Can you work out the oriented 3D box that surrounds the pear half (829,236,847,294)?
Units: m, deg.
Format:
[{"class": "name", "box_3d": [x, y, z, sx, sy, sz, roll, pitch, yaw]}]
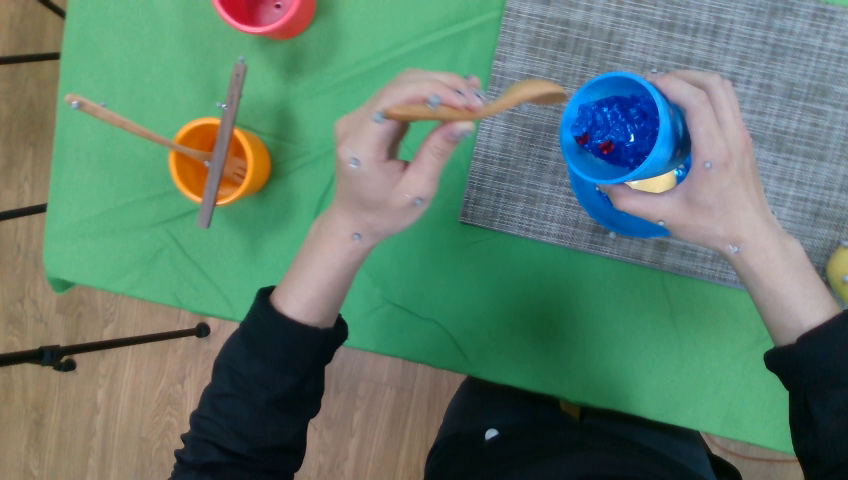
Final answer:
[{"class": "pear half", "box_3d": [0.444, 0.029, 0.598, 0.056, 0.110, 0.076, -5, 93, 7]}]

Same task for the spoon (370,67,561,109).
[{"class": "spoon", "box_3d": [0.034, -0.092, 0.378, 0.041, 0.194, 0.022, 4, 110, 36]}]

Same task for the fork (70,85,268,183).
[{"class": "fork", "box_3d": [-0.257, -0.107, 0.631, 0.209, 0.018, 0.028, 24, 113, -42]}]

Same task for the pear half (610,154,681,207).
[{"class": "pear half", "box_3d": [0.224, -0.079, 0.613, 0.070, 0.031, 0.088, -14, 91, 6]}]

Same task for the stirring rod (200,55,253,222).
[{"class": "stirring rod", "box_3d": [-0.204, -0.103, 0.625, 0.014, 0.006, 0.176, 18, 100, 0]}]

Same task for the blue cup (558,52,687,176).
[{"class": "blue cup", "box_3d": [0.171, -0.093, 0.497, 0.092, 0.101, 0.092, 2, 94, 38]}]

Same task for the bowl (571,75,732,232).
[{"class": "bowl", "box_3d": [0.222, -0.087, 0.619, 0.151, 0.076, 0.151, 1, 98, 6]}]
